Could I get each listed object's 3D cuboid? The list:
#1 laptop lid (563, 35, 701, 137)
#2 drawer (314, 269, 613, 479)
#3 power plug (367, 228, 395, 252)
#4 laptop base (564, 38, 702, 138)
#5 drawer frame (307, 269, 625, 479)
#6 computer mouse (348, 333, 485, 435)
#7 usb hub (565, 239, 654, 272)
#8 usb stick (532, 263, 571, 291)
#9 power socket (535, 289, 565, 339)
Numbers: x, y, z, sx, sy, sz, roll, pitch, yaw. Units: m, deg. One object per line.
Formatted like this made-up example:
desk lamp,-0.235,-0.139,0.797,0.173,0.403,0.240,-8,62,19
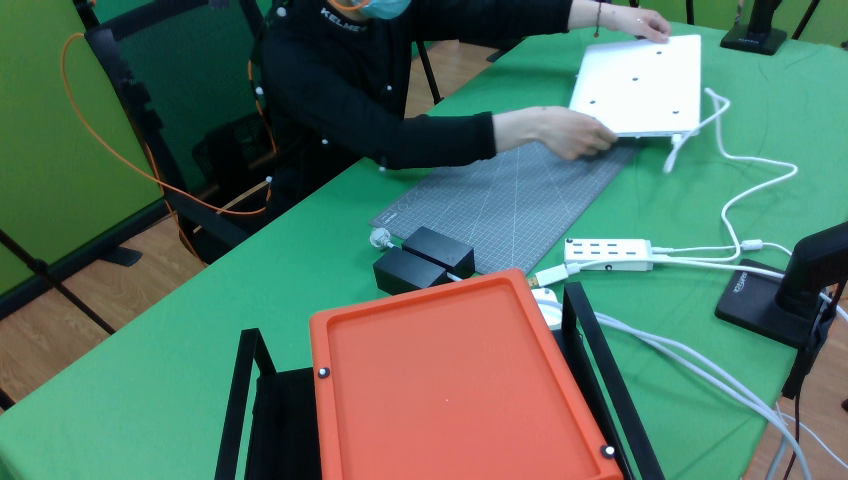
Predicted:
laptop lid,0.416,-0.310,1.190,0.240,0.013,0.356,3,45,24
drawer,0.018,0.135,0.490,0.195,0.073,0.210,-11,41,-5
power plug,-0.066,0.010,0.956,0.035,0.053,0.072,-30,55,2
laptop base,0.421,-0.301,1.197,0.234,0.023,0.354,1,44,24
drawer frame,0.019,0.135,0.487,0.202,0.083,0.212,-12,41,-7
computer mouse,-0.006,0.121,0.527,0.117,0.041,0.063,20,39,14
usb hub,0.275,0.022,0.906,0.125,0.025,0.049,1,41,9
usb stick,0.181,0.058,0.876,0.059,0.027,0.021,-32,89,-6
power socket,0.081,0.112,0.822,0.227,0.033,0.072,-7,41,0
